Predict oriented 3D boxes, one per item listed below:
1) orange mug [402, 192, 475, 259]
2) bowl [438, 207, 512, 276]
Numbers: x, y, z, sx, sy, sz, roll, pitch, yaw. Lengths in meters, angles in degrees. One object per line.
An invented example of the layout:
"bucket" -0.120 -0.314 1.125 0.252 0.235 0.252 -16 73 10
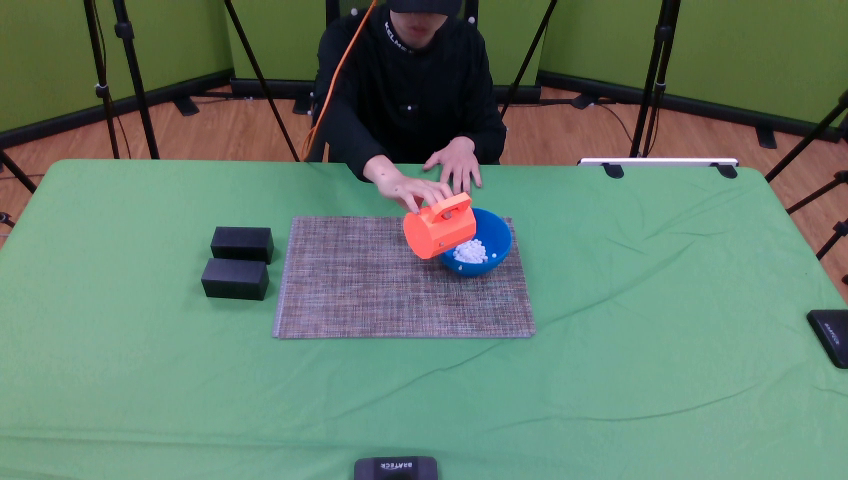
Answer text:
"orange mug" 0.032 -0.033 1.038 0.101 0.126 0.083 -22 67 -34
"bowl" 0.087 0.016 1.146 0.151 0.077 0.150 2 46 -2
